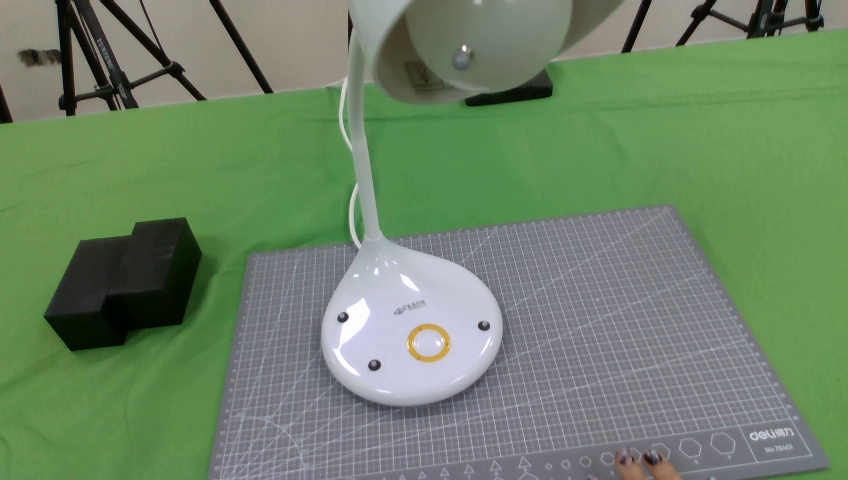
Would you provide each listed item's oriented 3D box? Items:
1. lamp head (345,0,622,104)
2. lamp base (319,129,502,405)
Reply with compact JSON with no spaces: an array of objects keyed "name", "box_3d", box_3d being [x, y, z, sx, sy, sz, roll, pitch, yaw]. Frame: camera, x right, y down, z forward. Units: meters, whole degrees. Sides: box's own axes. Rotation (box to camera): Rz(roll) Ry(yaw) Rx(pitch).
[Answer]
[{"name":"lamp head","box_3d":[0.009,-0.129,0.235,0.112,0.113,0.122,-21,75,-16]},{"name":"lamp base","box_3d":[-0.026,0.012,0.489,0.161,0.182,0.177,-27,44,-21]}]
